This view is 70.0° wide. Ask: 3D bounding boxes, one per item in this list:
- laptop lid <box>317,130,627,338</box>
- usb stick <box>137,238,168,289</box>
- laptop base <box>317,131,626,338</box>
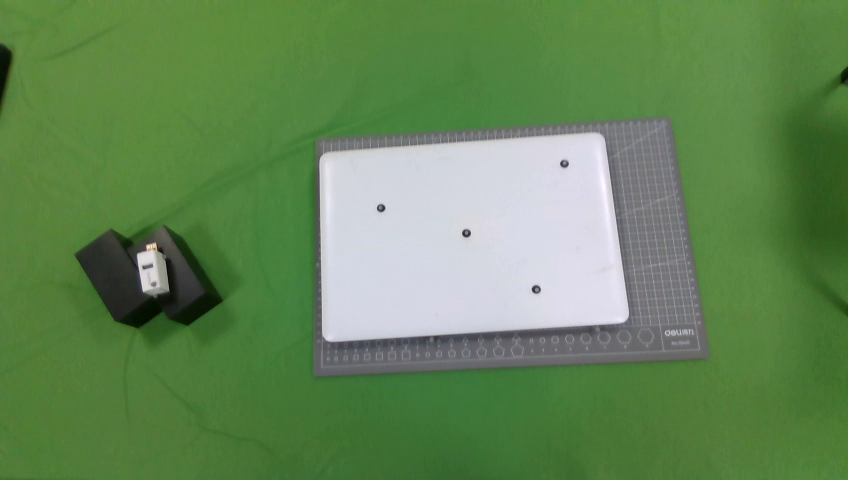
[{"bbox_3d":[0.050,-0.011,0.715,0.357,0.013,0.240,-2,76,2],"label":"laptop lid"},{"bbox_3d":[-0.304,0.024,0.676,0.021,0.027,0.059,-14,72,-1],"label":"usb stick"},{"bbox_3d":[0.050,-0.010,0.727,0.354,0.023,0.234,-4,77,1],"label":"laptop base"}]
